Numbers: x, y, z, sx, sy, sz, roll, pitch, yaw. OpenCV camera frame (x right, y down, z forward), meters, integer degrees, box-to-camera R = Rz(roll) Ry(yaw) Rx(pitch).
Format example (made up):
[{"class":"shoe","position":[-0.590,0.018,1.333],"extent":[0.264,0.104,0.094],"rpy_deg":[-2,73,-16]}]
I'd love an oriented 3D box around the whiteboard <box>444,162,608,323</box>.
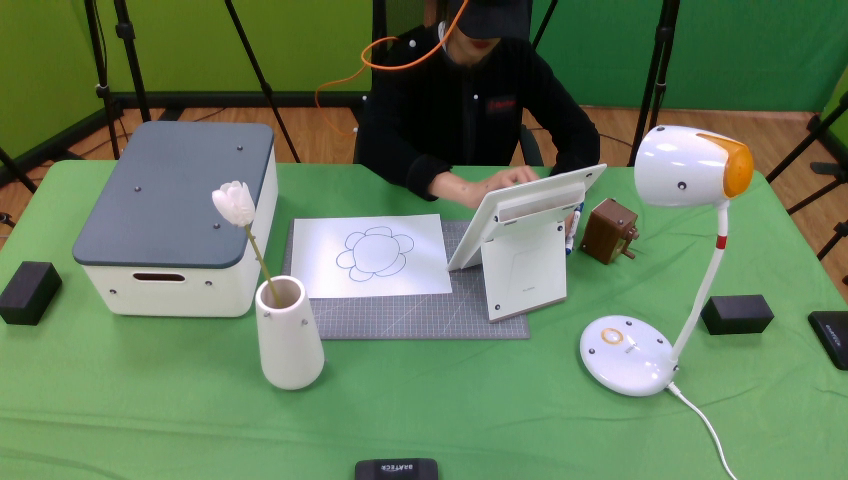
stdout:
[{"class":"whiteboard","position":[0.186,0.025,1.029],"extent":[0.217,0.306,0.143],"rpy_deg":[-14,68,-17]}]

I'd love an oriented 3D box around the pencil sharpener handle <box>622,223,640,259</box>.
[{"class":"pencil sharpener handle","position":[0.397,0.003,1.146],"extent":[0.030,0.068,0.036],"rpy_deg":[37,46,27]}]

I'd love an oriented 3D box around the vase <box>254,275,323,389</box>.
[{"class":"vase","position":[-0.209,0.143,0.921],"extent":[0.098,0.201,0.097],"rpy_deg":[1,46,-1]}]

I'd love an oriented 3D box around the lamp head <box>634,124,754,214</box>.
[{"class":"lamp head","position":[0.351,-0.089,0.775],"extent":[0.112,0.113,0.122],"rpy_deg":[-30,30,-28]}]

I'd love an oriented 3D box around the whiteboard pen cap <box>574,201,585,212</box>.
[{"class":"whiteboard pen cap","position":[0.327,-0.069,1.278],"extent":[0.018,0.018,0.033],"rpy_deg":[18,52,13]}]

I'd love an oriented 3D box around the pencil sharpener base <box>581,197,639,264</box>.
[{"class":"pencil sharpener base","position":[0.362,-0.017,1.179],"extent":[0.076,0.107,0.061],"rpy_deg":[37,54,27]}]

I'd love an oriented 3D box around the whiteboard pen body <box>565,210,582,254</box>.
[{"class":"whiteboard pen body","position":[0.309,-0.025,1.241],"extent":[0.017,0.017,0.140],"rpy_deg":[17,51,12]}]

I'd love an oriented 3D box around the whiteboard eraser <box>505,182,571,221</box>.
[{"class":"whiteboard eraser","position":[0.202,-0.065,1.064],"extent":[0.113,0.056,0.041],"rpy_deg":[-14,64,-19]}]

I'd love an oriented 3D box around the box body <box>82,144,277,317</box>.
[{"class":"box body","position":[-0.422,-0.041,1.108],"extent":[0.254,0.161,0.361],"rpy_deg":[2,46,-3]}]

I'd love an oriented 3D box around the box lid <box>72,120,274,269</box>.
[{"class":"box lid","position":[-0.417,-0.094,1.056],"extent":[0.263,0.015,0.369],"rpy_deg":[1,47,-3]}]

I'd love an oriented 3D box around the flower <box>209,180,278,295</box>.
[{"class":"flower","position":[-0.216,0.075,0.871],"extent":[0.044,0.363,0.038],"rpy_deg":[-29,36,-19]}]

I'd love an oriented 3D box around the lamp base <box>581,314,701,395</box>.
[{"class":"lamp base","position":[0.361,0.145,0.973],"extent":[0.178,0.181,0.160],"rpy_deg":[34,53,23]}]
